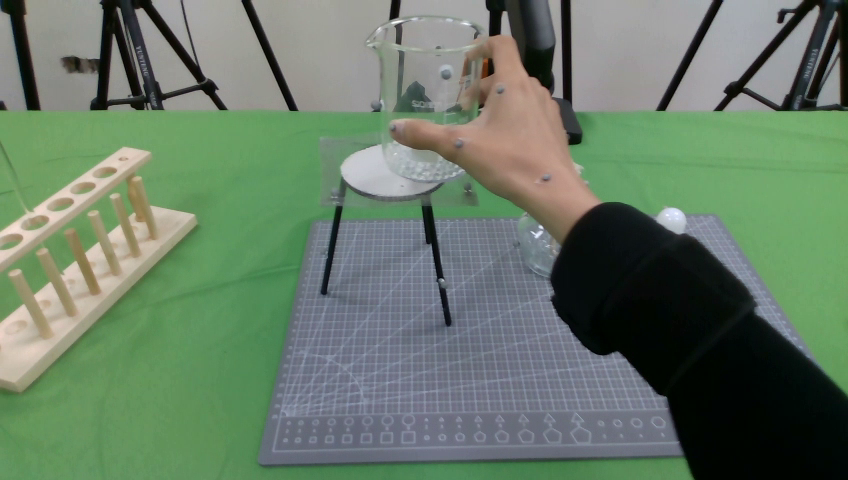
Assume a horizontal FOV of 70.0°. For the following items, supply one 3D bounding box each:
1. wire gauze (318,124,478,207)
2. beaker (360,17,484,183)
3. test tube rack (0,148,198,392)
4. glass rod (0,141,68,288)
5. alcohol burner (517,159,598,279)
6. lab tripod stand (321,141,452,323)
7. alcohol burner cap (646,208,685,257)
[{"bbox_3d":[-0.026,-0.062,0.498,0.125,0.011,0.120,-5,38,-4],"label":"wire gauze"},{"bbox_3d":[-0.002,-0.098,0.433,0.084,0.101,0.073,-4,36,-7],"label":"beaker"},{"bbox_3d":[-0.315,0.013,0.554,0.066,0.086,0.241,12,39,14],"label":"test tube rack"},{"bbox_3d":[-0.343,-0.040,0.515,0.008,0.201,0.008,-3,32,2],"label":"glass rod"},{"bbox_3d":[0.129,-0.023,0.575,0.078,0.120,0.077,0,36,0],"label":"alcohol burner"},{"bbox_3d":[-0.026,-0.009,0.540,0.148,0.132,0.147,0,40,1],"label":"lab tripod stand"},{"bbox_3d":[0.248,-0.010,0.618,0.034,0.048,0.033,-1,38,1],"label":"alcohol burner cap"}]
